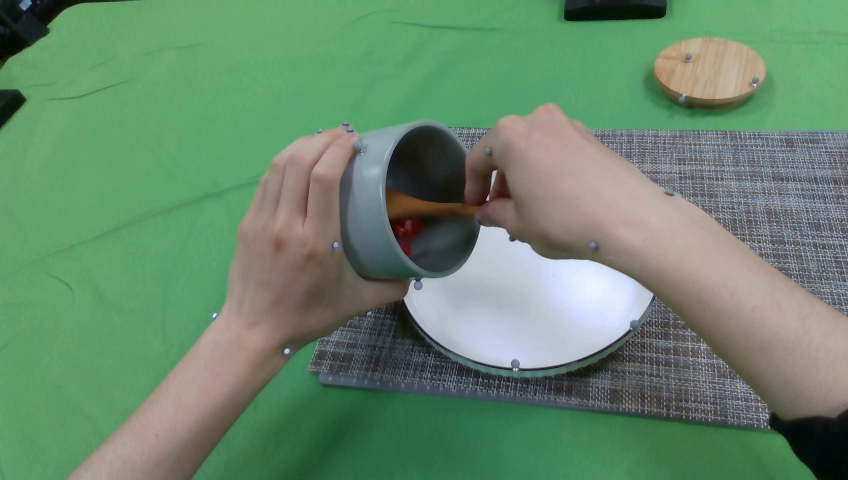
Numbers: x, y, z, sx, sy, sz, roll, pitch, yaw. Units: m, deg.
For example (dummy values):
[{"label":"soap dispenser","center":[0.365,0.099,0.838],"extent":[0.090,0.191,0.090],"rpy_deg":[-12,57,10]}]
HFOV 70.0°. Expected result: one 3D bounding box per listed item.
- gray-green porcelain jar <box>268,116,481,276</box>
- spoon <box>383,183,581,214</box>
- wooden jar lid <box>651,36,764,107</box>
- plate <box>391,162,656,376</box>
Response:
[{"label":"gray-green porcelain jar","center":[-0.040,-0.026,0.436],"extent":[0.126,0.107,0.105],"rpy_deg":[-3,46,40]},{"label":"spoon","center":[0.012,-0.028,0.418],"extent":[0.193,0.022,0.041],"rpy_deg":[0,59,25]},{"label":"wooden jar lid","center":[0.293,-0.176,0.633],"extent":[0.108,0.021,0.107],"rpy_deg":[-5,51,7]},{"label":"plate","center":[0.078,0.021,0.496],"extent":[0.207,0.039,0.205],"rpy_deg":[-5,50,7]}]
